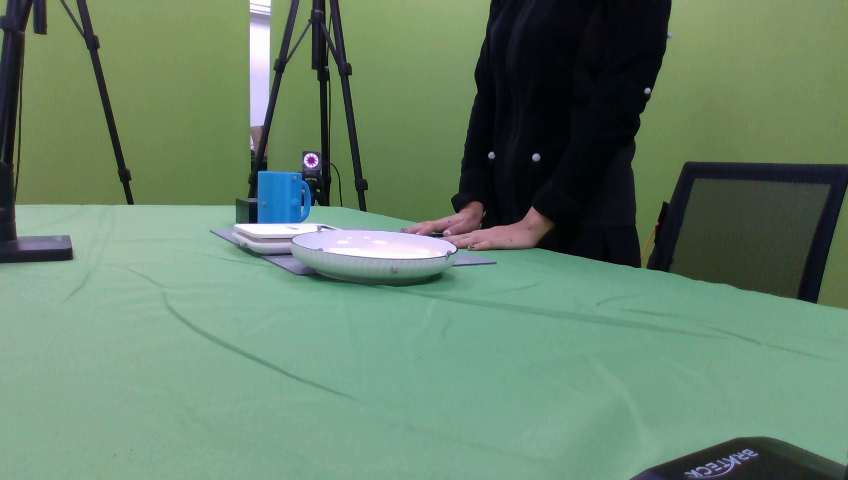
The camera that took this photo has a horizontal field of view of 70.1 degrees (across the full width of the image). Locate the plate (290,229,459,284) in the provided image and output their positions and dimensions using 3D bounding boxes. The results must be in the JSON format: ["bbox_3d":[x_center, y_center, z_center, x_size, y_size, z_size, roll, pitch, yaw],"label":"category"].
[{"bbox_3d":[-0.061,0.020,0.753,0.209,0.038,0.209,3,9,0],"label":"plate"}]

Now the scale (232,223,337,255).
[{"bbox_3d":[-0.178,-0.004,0.920,0.202,0.031,0.148,-1,9,-30],"label":"scale"}]

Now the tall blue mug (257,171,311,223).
[{"bbox_3d":[-0.258,-0.070,1.107,0.078,0.108,0.107,2,7,5],"label":"tall blue mug"}]
